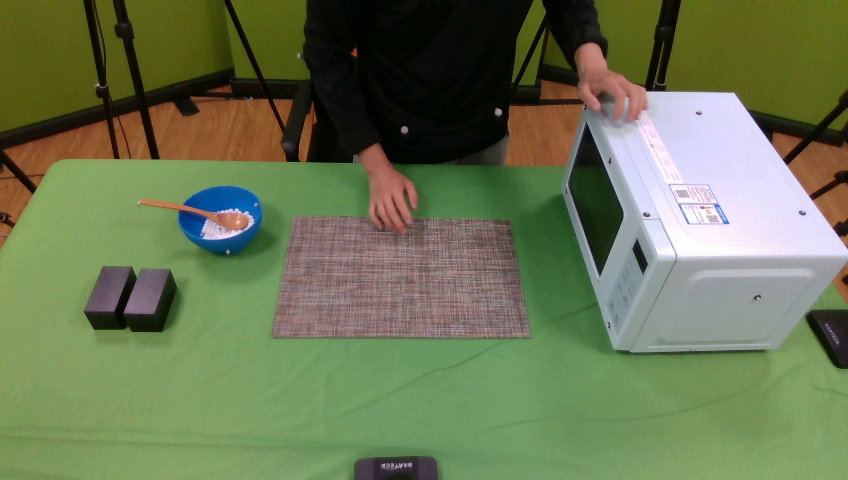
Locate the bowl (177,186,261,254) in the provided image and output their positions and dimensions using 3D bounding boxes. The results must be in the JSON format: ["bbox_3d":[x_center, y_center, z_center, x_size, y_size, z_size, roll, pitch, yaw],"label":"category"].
[{"bbox_3d":[-0.383,-0.026,1.158,0.151,0.077,0.150,2,46,-2],"label":"bowl"}]

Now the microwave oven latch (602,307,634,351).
[{"bbox_3d":[0.332,0.153,1.044,0.030,0.029,0.078,-1,45,-4],"label":"microwave oven latch"}]

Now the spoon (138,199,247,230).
[{"bbox_3d":[-0.431,-0.053,1.136,0.194,0.022,0.041,15,48,-20],"label":"spoon"}]

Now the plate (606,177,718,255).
[{"bbox_3d":[0.457,-0.043,1.180,0.208,0.039,0.206,0,46,0],"label":"plate"}]

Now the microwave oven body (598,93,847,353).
[{"bbox_3d":[0.476,-0.041,1.110,0.326,0.261,0.438,-1,45,-4],"label":"microwave oven body"}]

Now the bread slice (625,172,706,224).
[{"bbox_3d":[0.462,-0.079,1.139,0.105,0.019,0.131,-31,53,-34],"label":"bread slice"}]

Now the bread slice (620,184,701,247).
[{"bbox_3d":[0.463,-0.044,1.172,0.134,0.018,0.107,33,61,21],"label":"bread slice"}]

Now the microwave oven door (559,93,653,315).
[{"bbox_3d":[0.327,-0.074,1.123,0.039,0.245,0.353,0,46,-5],"label":"microwave oven door"}]

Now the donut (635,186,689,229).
[{"bbox_3d":[0.454,-0.062,1.159,0.099,0.048,0.098,-2,47,2],"label":"donut"}]
